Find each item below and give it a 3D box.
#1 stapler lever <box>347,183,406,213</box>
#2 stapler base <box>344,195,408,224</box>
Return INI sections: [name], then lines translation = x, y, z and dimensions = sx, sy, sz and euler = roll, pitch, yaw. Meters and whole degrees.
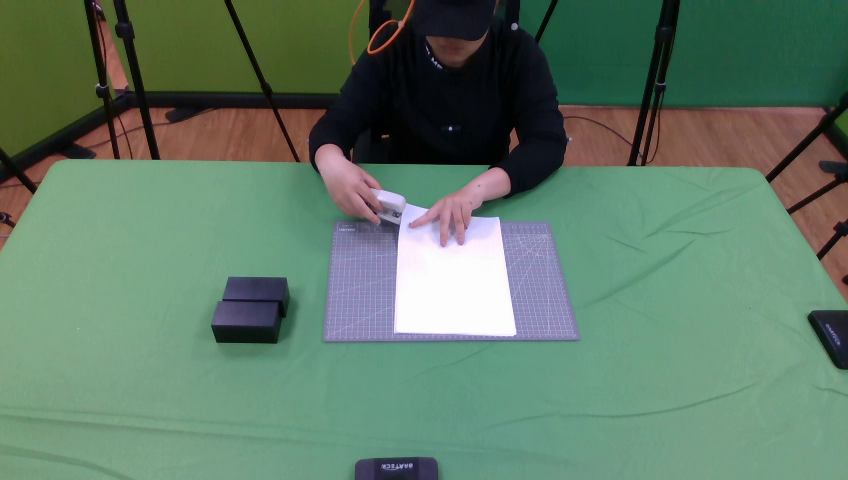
[stapler lever]
translation = -0.093, -0.085, 1.189
dimensions = 0.118, 0.040, 0.026
euler = 21, 60, 3
[stapler base]
translation = -0.094, -0.073, 1.211
dimensions = 0.130, 0.024, 0.041
euler = 22, 60, 3
